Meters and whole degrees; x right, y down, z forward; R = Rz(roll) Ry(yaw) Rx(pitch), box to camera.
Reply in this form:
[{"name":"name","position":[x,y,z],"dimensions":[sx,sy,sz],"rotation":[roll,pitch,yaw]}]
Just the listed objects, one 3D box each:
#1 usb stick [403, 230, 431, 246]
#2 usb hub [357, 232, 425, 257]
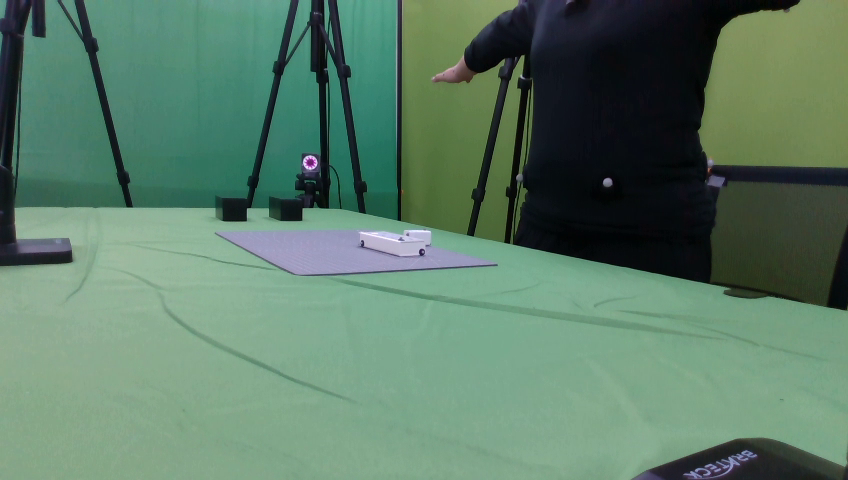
[{"name":"usb stick","position":[-0.019,-0.003,1.020],"dimensions":[0.059,0.027,0.021],"rotation":[-6,15,-34]},{"name":"usb hub","position":[-0.055,0.005,0.947],"dimensions":[0.050,0.025,0.124],"rotation":[-3,9,-36]}]
